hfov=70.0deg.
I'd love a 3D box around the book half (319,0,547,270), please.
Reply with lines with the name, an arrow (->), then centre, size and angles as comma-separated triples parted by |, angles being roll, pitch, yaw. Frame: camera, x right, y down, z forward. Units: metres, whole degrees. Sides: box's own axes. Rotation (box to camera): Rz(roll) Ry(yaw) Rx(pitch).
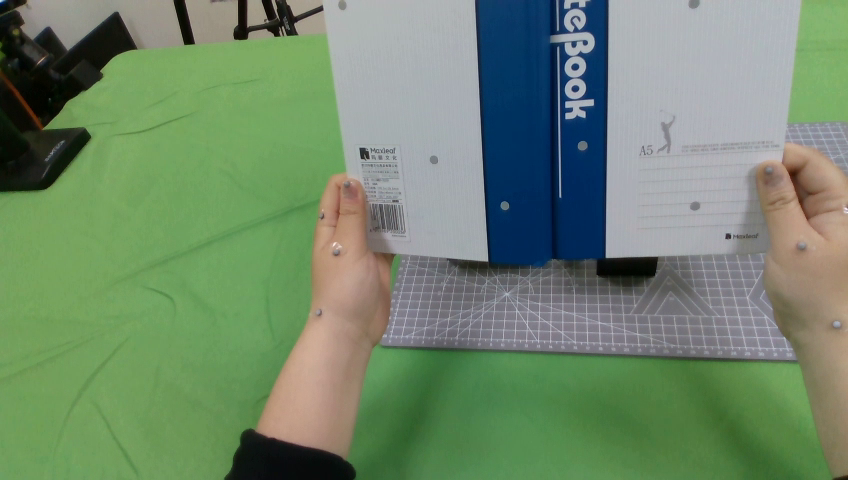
book half -> 0.006, -0.084, 0.403 | 0.148, 0.211, 0.016 | 4, 23, 23

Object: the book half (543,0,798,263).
book half -> 0.145, -0.085, 0.370 | 0.143, 0.211, 0.007 | -2, 21, 10
